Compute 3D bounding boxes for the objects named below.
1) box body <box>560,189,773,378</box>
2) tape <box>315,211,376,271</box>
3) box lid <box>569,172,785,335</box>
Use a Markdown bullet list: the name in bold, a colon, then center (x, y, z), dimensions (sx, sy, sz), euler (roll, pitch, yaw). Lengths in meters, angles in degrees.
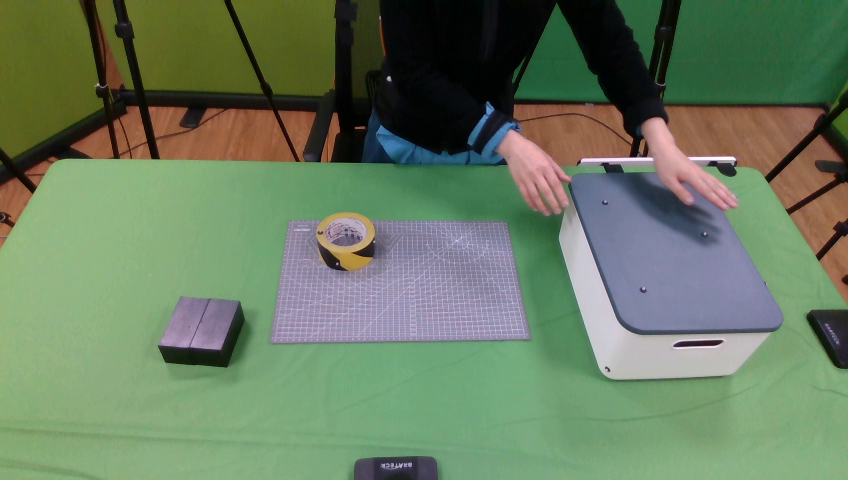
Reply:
- **box body**: center (0.405, 0.057, 1.074), dimensions (0.254, 0.161, 0.361), euler (-1, 46, -5)
- **tape**: center (-0.150, 0.000, 1.160), dimensions (0.117, 0.053, 0.116), euler (3, 46, -3)
- **box lid**: center (0.408, 0.007, 1.019), dimensions (0.263, 0.015, 0.369), euler (-1, 45, -5)
